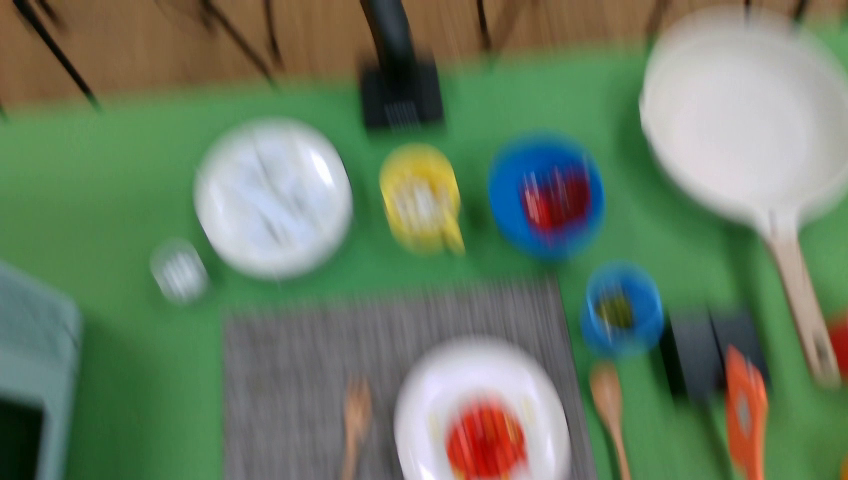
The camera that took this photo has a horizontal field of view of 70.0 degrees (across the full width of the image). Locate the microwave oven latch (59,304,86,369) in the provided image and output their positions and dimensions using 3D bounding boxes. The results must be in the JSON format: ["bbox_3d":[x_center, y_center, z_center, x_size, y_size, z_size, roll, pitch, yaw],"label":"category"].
[{"bbox_3d":[-0.454,0.123,0.771,0.030,0.030,0.078,0,68,0],"label":"microwave oven latch"}]

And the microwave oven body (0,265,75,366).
[{"bbox_3d":[-0.595,0.255,0.613,0.326,0.262,0.438,-2,68,-1],"label":"microwave oven body"}]

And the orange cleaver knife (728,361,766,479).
[{"bbox_3d":[0.377,0.250,0.708,0.012,0.077,0.211,-6,96,-2],"label":"orange cleaver knife"}]

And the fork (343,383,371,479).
[{"bbox_3d":[-0.091,0.277,0.730,0.028,0.019,0.206,11,66,-8],"label":"fork"}]

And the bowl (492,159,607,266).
[{"bbox_3d":[0.165,-0.026,0.825,0.151,0.077,0.150,0,68,1],"label":"bowl"}]

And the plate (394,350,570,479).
[{"bbox_3d":[0.069,0.239,0.734,0.209,0.038,0.207,0,68,1],"label":"plate"}]

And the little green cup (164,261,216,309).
[{"bbox_3d":[-0.311,0.063,0.812,0.061,0.039,0.061,0,68,-1],"label":"little green cup"}]

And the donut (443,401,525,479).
[{"bbox_3d":[0.071,0.242,0.720,0.099,0.048,0.098,0,71,1],"label":"donut"}]

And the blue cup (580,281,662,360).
[{"bbox_3d":[0.237,0.108,0.756,0.092,0.101,0.092,0,66,0],"label":"blue cup"}]

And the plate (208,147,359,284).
[{"bbox_3d":[-0.194,-0.033,0.853,0.208,0.039,0.206,0,68,1],"label":"plate"}]

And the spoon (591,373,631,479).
[{"bbox_3d":[0.237,0.260,0.737,0.042,0.022,0.192,3,66,-21],"label":"spoon"}]

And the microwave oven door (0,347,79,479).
[{"bbox_3d":[-0.447,0.286,0.594,0.039,0.245,0.353,-3,67,0],"label":"microwave oven door"}]

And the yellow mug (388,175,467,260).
[{"bbox_3d":[0.013,-0.021,0.831,0.100,0.064,0.130,-41,74,-14],"label":"yellow mug"}]

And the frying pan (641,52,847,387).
[{"bbox_3d":[0.456,-0.043,0.815,0.307,0.103,0.483,-1,60,1],"label":"frying pan"}]
